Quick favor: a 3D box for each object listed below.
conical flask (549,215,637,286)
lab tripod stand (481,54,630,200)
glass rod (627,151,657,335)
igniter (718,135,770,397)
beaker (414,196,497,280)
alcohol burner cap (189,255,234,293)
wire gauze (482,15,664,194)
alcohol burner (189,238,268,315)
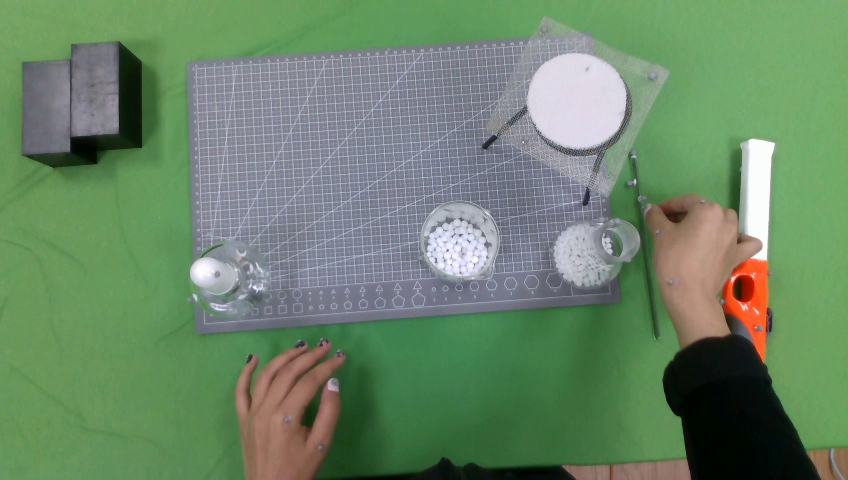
[{"bbox_3d":[0.169,0.005,0.589,0.075,0.122,0.075,0,83,0],"label":"conical flask"},{"bbox_3d":[0.133,-0.112,0.596,0.148,0.132,0.148,0,85,2],"label":"lab tripod stand"},{"bbox_3d":[0.233,0.002,0.649,0.008,0.008,0.199,-5,83,-1],"label":"glass rod"},{"bbox_3d":[0.338,0.026,0.637,0.057,0.025,0.276,8,84,-9],"label":"igniter"},{"bbox_3d":[0.033,0.005,0.601,0.074,0.100,0.084,-40,85,-4],"label":"beaker"},{"bbox_3d":[-0.197,0.029,0.555,0.034,0.048,0.033,1,76,-2],"label":"alcohol burner cap"},{"bbox_3d":[0.130,-0.122,0.530,0.125,0.011,0.121,28,86,4],"label":"wire gauze"},{"bbox_3d":[-0.197,0.035,0.591,0.078,0.119,0.077,0,85,2],"label":"alcohol burner"}]
